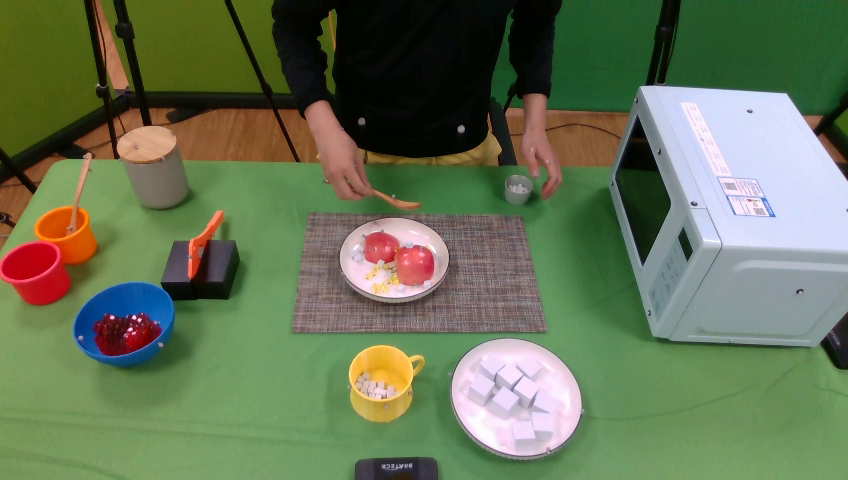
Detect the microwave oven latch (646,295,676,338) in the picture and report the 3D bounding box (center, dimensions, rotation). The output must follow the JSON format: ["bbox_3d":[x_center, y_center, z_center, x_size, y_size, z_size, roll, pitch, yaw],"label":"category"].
[{"bbox_3d":[0.413,0.133,1.060,0.030,0.029,0.078,4,46,1],"label":"microwave oven latch"}]

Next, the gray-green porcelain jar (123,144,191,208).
[{"bbox_3d":[-0.531,-0.137,1.213,0.106,0.127,0.105,2,47,-2],"label":"gray-green porcelain jar"}]

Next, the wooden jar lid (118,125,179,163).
[{"bbox_3d":[-0.528,-0.181,1.167,0.108,0.021,0.107,4,48,-4],"label":"wooden jar lid"}]

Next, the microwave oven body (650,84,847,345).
[{"bbox_3d":[0.569,-0.054,1.116,0.326,0.261,0.439,2,46,-1],"label":"microwave oven body"}]

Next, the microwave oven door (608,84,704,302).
[{"bbox_3d":[0.424,-0.096,1.138,0.039,0.245,0.353,3,46,-1],"label":"microwave oven door"}]

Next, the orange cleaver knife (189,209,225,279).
[{"bbox_3d":[-0.400,0.002,1.122,0.012,0.077,0.210,4,23,-4],"label":"orange cleaver knife"}]

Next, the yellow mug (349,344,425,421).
[{"bbox_3d":[-0.054,0.216,0.954,0.131,0.064,0.099,-24,53,-25],"label":"yellow mug"}]

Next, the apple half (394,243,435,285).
[{"bbox_3d":[-0.016,0.036,1.120,0.075,0.053,0.080,1,46,-6],"label":"apple half"}]

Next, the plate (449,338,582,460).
[{"bbox_3d":[0.141,0.251,0.956,0.208,0.039,0.206,2,47,-2],"label":"plate"}]

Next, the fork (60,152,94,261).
[{"bbox_3d":[-0.638,-0.063,1.119,0.028,0.018,0.207,11,90,8],"label":"fork"}]

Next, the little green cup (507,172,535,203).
[{"bbox_3d":[0.206,-0.111,1.301,0.061,0.039,0.061,0,47,0],"label":"little green cup"}]

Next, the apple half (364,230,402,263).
[{"bbox_3d":[-0.079,0.004,1.160,0.081,0.033,0.081,2,50,-3],"label":"apple half"}]

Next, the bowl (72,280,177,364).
[{"bbox_3d":[-0.472,0.147,0.982,0.151,0.077,0.150,2,46,-2],"label":"bowl"}]

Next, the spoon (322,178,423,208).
[{"bbox_3d":[-0.096,-0.090,1.118,0.193,0.021,0.041,19,16,8],"label":"spoon"}]

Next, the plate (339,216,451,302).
[{"bbox_3d":[-0.054,0.038,1.137,0.209,0.038,0.208,2,46,-2],"label":"plate"}]
